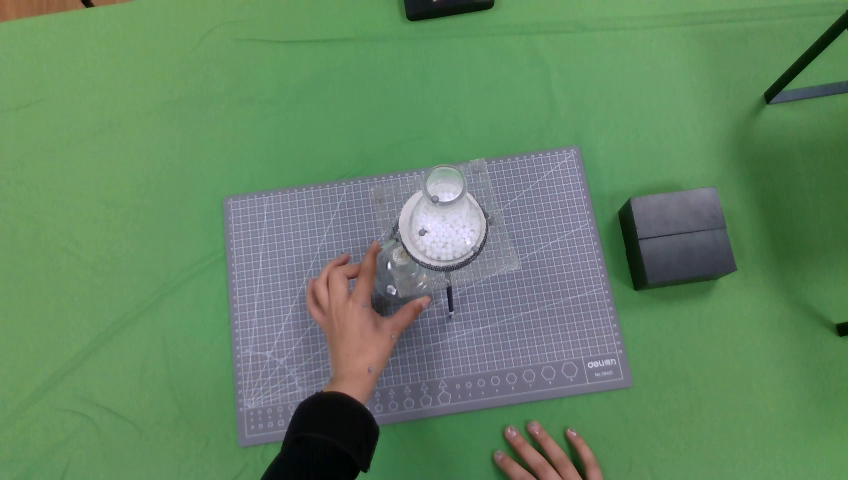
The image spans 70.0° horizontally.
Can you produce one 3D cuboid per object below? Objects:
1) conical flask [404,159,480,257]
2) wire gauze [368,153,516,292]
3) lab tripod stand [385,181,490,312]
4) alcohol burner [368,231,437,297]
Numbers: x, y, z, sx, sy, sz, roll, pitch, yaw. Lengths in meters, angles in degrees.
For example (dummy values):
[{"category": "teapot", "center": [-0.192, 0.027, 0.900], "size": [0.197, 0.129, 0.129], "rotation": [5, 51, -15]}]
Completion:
[{"category": "conical flask", "center": [0.016, -0.033, 0.545], "size": [0.075, 0.122, 0.075], "rotation": [0, 75, 1]}, {"category": "wire gauze", "center": [0.017, -0.018, 0.602], "size": [0.125, 0.011, 0.121], "rotation": [-13, 78, -5]}, {"category": "lab tripod stand", "center": [0.020, -0.004, 0.666], "size": [0.148, 0.132, 0.147], "rotation": [0, 74, 1]}, {"category": "alcohol burner", "center": [-0.024, 0.022, 0.670], "size": [0.078, 0.119, 0.077], "rotation": [0, 74, 0]}]
